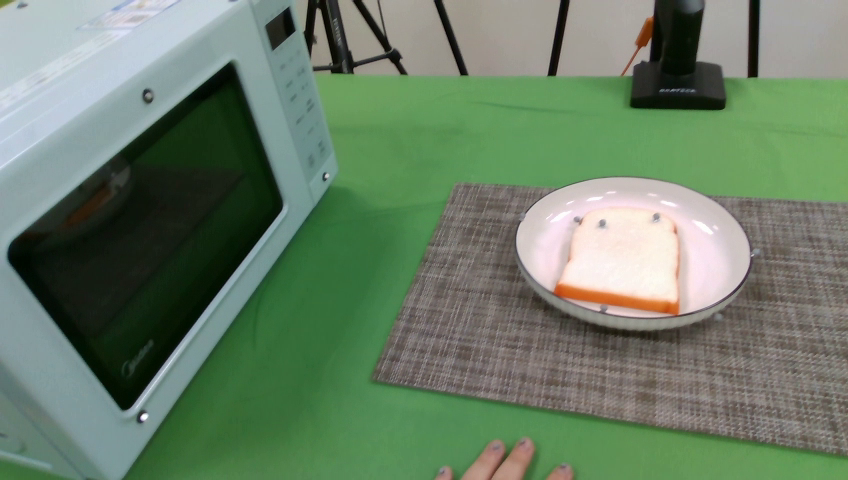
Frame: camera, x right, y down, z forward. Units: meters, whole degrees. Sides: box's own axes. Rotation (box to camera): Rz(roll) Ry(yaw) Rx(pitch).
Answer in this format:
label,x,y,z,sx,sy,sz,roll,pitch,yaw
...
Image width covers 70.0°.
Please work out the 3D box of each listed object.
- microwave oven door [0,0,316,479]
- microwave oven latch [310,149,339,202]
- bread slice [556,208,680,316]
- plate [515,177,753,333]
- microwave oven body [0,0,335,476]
label,x,y,z,sx,sy,sz,roll,pitch,yaw
microwave oven door,-0.205,-0.019,0.502,0.039,0.246,0.353,5,41,18
microwave oven latch,-0.127,-0.078,0.724,0.030,0.030,0.078,6,42,18
bread slice,0.188,0.014,0.574,0.104,0.019,0.130,7,43,19
plate,0.191,0.013,0.572,0.209,0.038,0.207,-6,39,5
microwave oven body,-0.332,-0.054,0.579,0.325,0.263,0.438,6,42,17
